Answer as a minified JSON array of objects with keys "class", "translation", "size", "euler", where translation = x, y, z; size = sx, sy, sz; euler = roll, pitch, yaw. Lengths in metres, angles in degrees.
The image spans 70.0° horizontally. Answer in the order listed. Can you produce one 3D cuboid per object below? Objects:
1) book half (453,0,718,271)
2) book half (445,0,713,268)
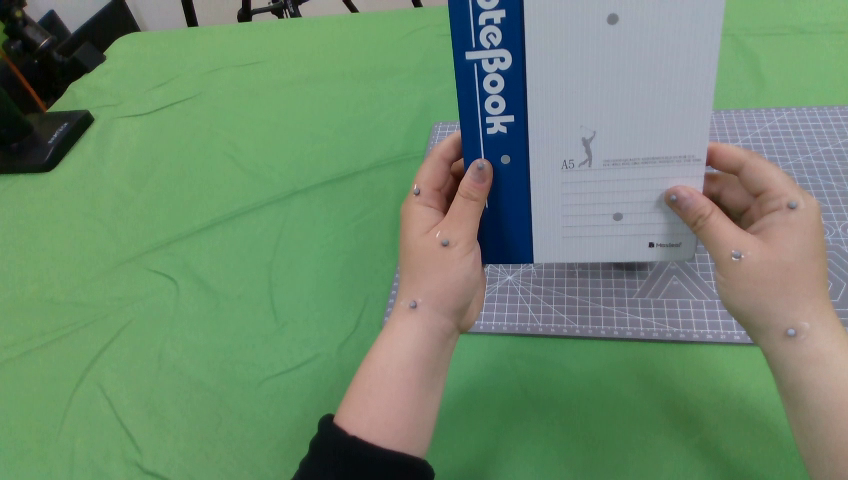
[{"class":"book half","translation":[0.095,-0.073,0.366],"size":[0.143,0.212,0.007],"euler":[-2,28,11]},{"class":"book half","translation":[0.094,-0.076,0.371],"size":[0.148,0.212,0.016],"euler":[-2,28,11]}]
